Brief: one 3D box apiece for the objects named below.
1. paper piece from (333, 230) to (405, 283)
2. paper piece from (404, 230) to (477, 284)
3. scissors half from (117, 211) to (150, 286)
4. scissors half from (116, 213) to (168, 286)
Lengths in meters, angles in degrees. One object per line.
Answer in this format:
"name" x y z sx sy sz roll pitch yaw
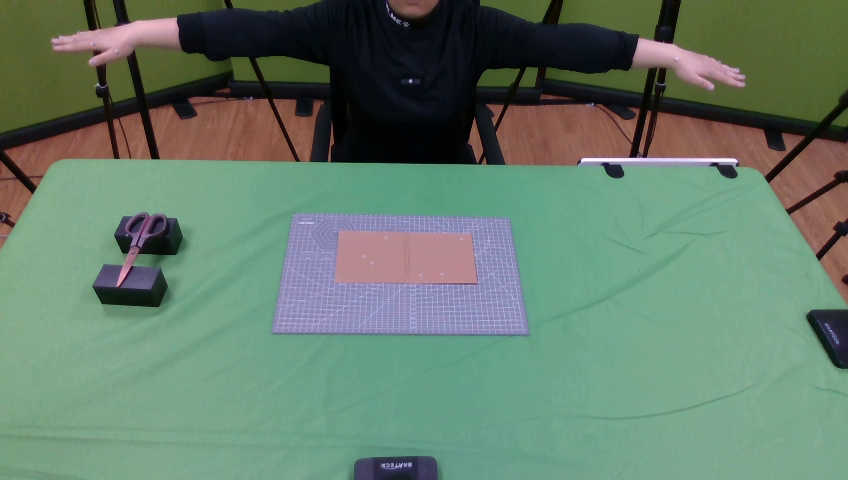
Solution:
"paper piece" -0.104 0.031 1.165 0.135 0.004 0.135 2 47 -4
"paper piece" 0.030 0.033 1.174 0.138 0.009 0.135 2 49 -3
"scissors half" -0.524 0.013 1.080 0.040 0.013 0.174 2 48 -11
"scissors half" -0.504 0.015 1.082 0.040 0.013 0.174 11 48 4
